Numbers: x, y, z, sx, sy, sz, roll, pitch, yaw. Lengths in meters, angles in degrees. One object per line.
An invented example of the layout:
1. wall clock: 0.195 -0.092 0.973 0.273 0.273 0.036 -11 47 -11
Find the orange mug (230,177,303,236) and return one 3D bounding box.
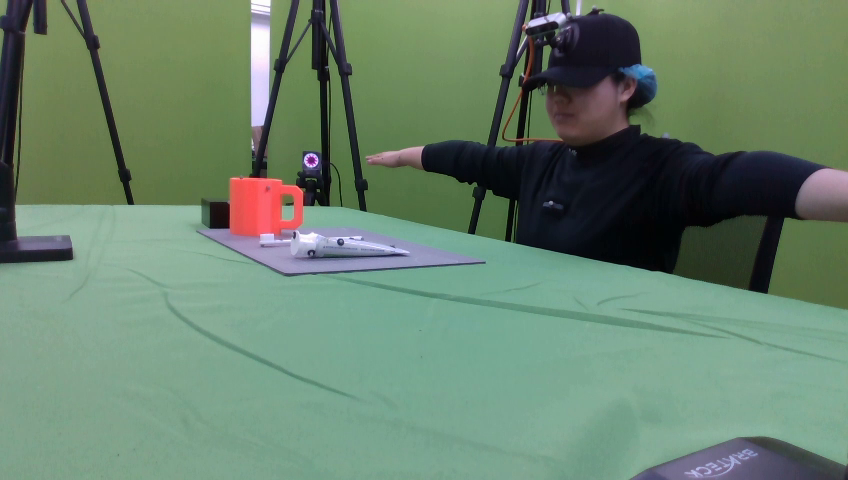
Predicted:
1. orange mug: -0.275 -0.060 1.058 0.126 0.101 0.083 -2 8 -5

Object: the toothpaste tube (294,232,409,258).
1. toothpaste tube: -0.103 0.010 0.853 0.166 0.034 0.055 3 11 -34

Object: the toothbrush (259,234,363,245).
1. toothbrush: -0.175 -0.002 0.958 0.183 0.016 0.014 -1 -4 -39

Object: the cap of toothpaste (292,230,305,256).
1. cap of toothpaste: -0.169 0.005 0.812 0.011 0.037 0.037 6 4 -30
